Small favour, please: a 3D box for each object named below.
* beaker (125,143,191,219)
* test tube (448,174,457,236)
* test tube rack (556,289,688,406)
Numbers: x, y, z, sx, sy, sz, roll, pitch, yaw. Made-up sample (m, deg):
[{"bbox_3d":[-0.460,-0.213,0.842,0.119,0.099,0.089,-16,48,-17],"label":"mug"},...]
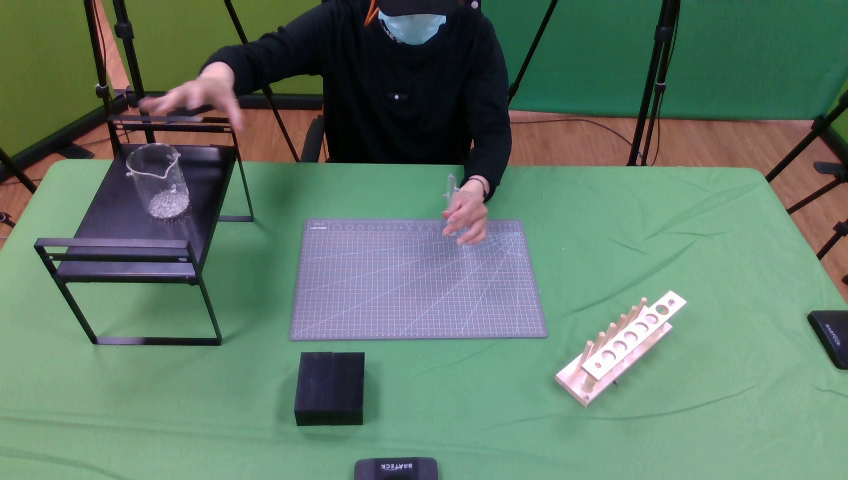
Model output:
[{"bbox_3d":[-0.409,-0.088,0.946,0.074,0.101,0.083,-28,55,-26],"label":"beaker"},{"bbox_3d":[0.050,-0.058,1.061,0.017,0.151,0.017,-1,51,2],"label":"test tube"},{"bbox_3d":[0.332,0.165,1.014,0.242,0.085,0.066,-30,55,-28],"label":"test tube rack"}]
